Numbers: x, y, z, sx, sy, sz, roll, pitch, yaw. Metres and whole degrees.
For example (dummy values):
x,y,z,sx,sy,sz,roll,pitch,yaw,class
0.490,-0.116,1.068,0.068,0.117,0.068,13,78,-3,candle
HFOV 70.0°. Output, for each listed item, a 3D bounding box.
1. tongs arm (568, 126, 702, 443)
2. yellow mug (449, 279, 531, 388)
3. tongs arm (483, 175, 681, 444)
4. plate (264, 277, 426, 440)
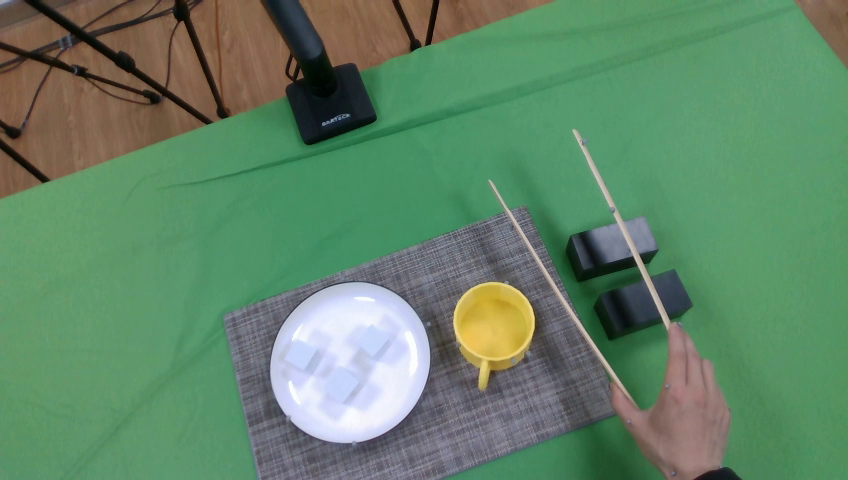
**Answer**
x,y,z,sx,sy,sz,roll,pitch,yaw,class
0.232,0.039,0.705,0.051,0.027,0.382,-26,72,14,tongs arm
0.080,0.120,0.760,0.100,0.064,0.130,10,70,9,yellow mug
0.174,0.071,0.722,0.028,0.028,0.384,-34,69,7,tongs arm
-0.099,0.152,0.780,0.207,0.039,0.206,-2,69,5,plate
